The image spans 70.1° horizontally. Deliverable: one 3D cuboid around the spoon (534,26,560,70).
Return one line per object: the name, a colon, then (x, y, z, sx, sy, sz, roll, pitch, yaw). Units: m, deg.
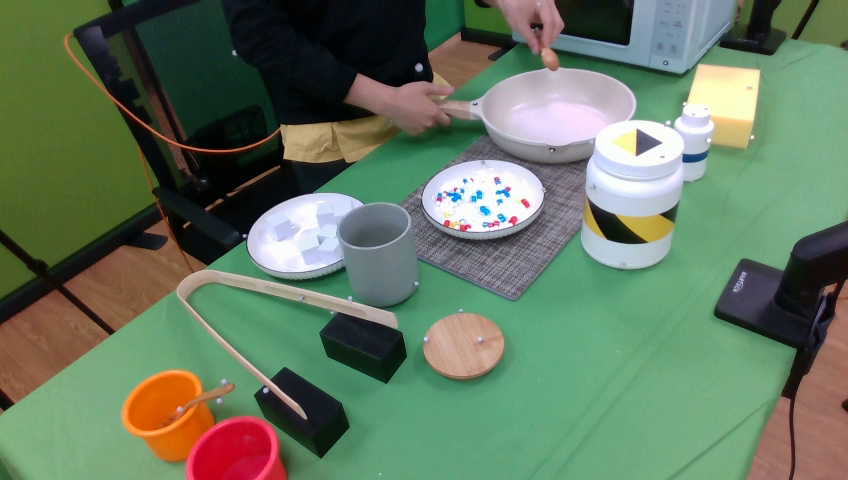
spoon: (0.215, -0.353, 1.094, 0.042, 0.021, 0.192, 30, 28, -21)

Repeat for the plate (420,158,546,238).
plate: (0.099, -0.067, 1.017, 0.209, 0.038, 0.208, -4, 40, 4)

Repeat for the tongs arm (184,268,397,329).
tongs arm: (-0.202, 0.084, 0.848, 0.382, 0.027, 0.051, 11, 45, 35)

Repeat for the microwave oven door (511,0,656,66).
microwave oven door: (0.351, -0.540, 1.350, 0.353, 0.245, 0.039, 24, 50, 31)

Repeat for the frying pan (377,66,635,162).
frying pan: (0.150, -0.255, 1.177, 0.488, 0.103, 0.306, 7, 41, 4)

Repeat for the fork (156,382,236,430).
fork: (-0.262, 0.189, 0.690, 0.018, 0.206, 0.028, 49, 43, -7)

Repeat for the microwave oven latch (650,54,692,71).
microwave oven latch: (0.531, -0.386, 1.301, 0.078, 0.029, 0.030, 24, 50, 32)

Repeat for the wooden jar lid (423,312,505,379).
wooden jar lid: (0.053, 0.142, 0.800, 0.108, 0.021, 0.108, -5, 39, 4)

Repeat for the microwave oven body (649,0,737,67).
microwave oven body: (0.475, -0.602, 1.411, 0.438, 0.261, 0.327, 23, 50, 32)

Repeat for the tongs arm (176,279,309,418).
tongs arm: (-0.255, 0.132, 0.801, 0.028, 0.028, 0.384, -41, 40, -23)

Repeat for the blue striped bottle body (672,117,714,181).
blue striped bottle body: (0.449, -0.165, 1.022, 0.063, 0.121, 0.063, -5, 41, 4)

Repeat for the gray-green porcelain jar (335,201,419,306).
gray-green porcelain jar: (-0.064, 0.024, 0.872, 0.106, 0.127, 0.105, -4, 41, 4)

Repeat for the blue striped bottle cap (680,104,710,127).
blue striped bottle cap: (0.443, -0.205, 0.989, 0.044, 0.021, 0.044, -1, 41, 2)

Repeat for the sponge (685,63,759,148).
sponge: (0.569, -0.263, 1.164, 0.117, 0.061, 0.207, 12, 45, 22)

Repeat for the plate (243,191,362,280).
plate: (-0.188, -0.005, 0.992, 0.207, 0.039, 0.206, -4, 41, 4)

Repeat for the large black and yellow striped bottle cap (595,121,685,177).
large black and yellow striped bottle cap: (0.292, -0.126, 0.821, 0.115, 0.019, 0.114, -5, 40, 4)

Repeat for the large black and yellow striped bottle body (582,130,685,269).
large black and yellow striped bottle body: (0.301, -0.063, 0.877, 0.131, 0.185, 0.130, -4, 41, 4)
